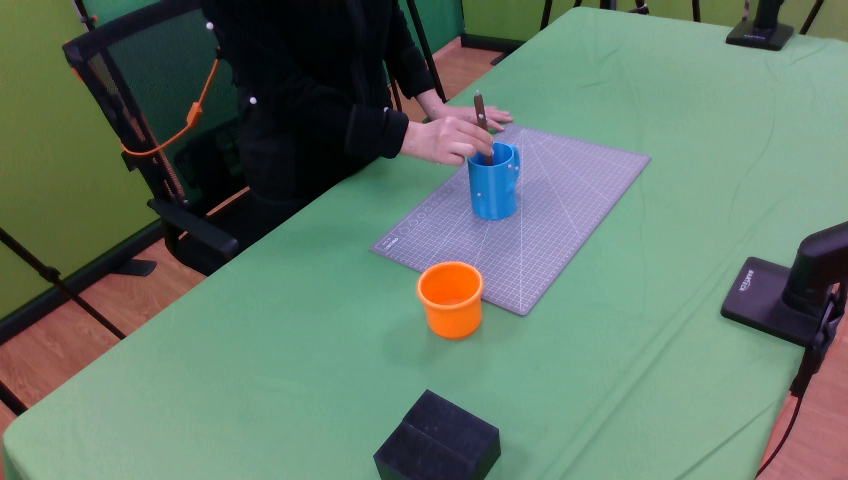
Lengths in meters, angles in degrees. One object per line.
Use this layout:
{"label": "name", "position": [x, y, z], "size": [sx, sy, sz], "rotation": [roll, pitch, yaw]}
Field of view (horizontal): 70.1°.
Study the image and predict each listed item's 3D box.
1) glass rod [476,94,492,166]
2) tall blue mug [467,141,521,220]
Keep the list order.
{"label": "glass rod", "position": [0.101, -0.144, 0.959], "size": [0.008, 0.201, 0.008], "rotation": [-9, 43, 9]}
{"label": "tall blue mug", "position": [0.119, -0.109, 1.020], "size": [0.077, 0.108, 0.107], "rotation": [3, 42, 15]}
